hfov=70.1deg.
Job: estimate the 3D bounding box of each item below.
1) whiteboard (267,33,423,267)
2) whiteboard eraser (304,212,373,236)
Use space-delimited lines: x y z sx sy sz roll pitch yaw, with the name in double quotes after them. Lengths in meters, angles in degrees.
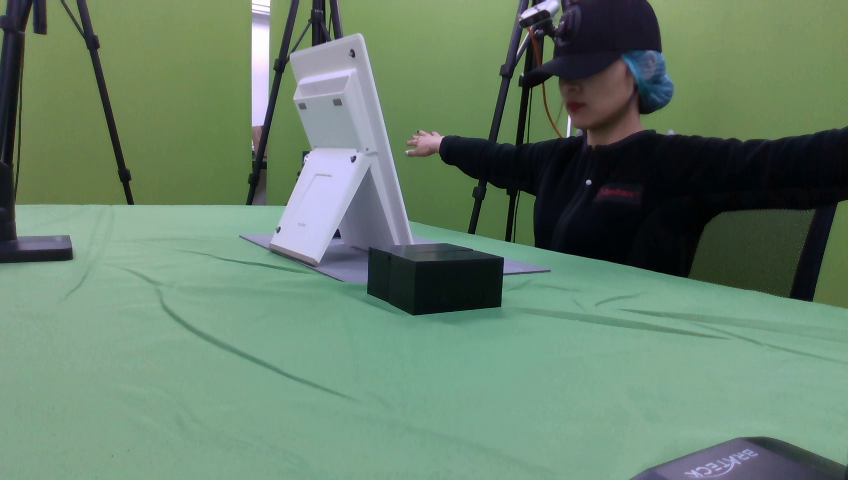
-0.153 -0.097 0.819 0.144 0.305 0.216 -25 21 -29 "whiteboard"
-0.152 -0.029 1.077 0.113 0.042 0.055 -2 8 -31 "whiteboard eraser"
